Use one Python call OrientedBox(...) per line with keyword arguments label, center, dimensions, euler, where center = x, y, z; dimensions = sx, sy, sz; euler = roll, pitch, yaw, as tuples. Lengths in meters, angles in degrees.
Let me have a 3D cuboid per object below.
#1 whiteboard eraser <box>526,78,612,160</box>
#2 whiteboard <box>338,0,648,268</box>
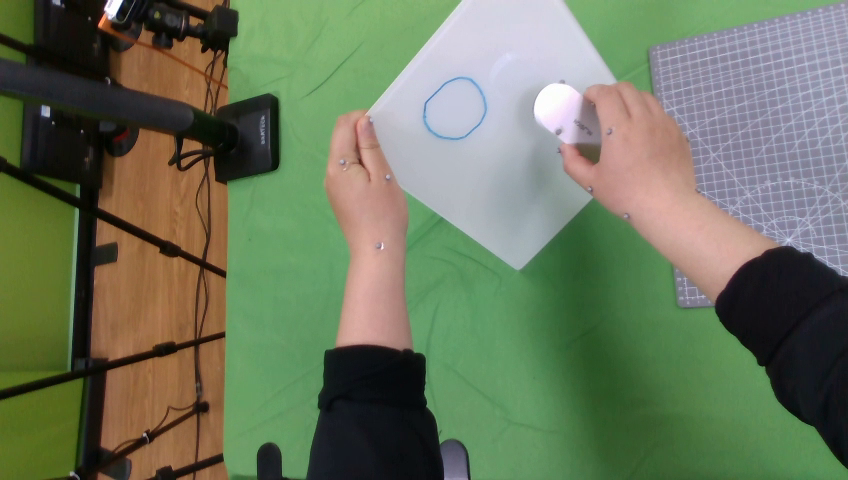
OrientedBox(label="whiteboard eraser", center=(0.132, -0.108, 0.549), dimensions=(0.041, 0.102, 0.018), euler=(-57, 31, 6))
OrientedBox(label="whiteboard", center=(0.061, -0.142, 0.639), dimensions=(0.217, 0.309, 0.142), euler=(-46, 47, 12))
